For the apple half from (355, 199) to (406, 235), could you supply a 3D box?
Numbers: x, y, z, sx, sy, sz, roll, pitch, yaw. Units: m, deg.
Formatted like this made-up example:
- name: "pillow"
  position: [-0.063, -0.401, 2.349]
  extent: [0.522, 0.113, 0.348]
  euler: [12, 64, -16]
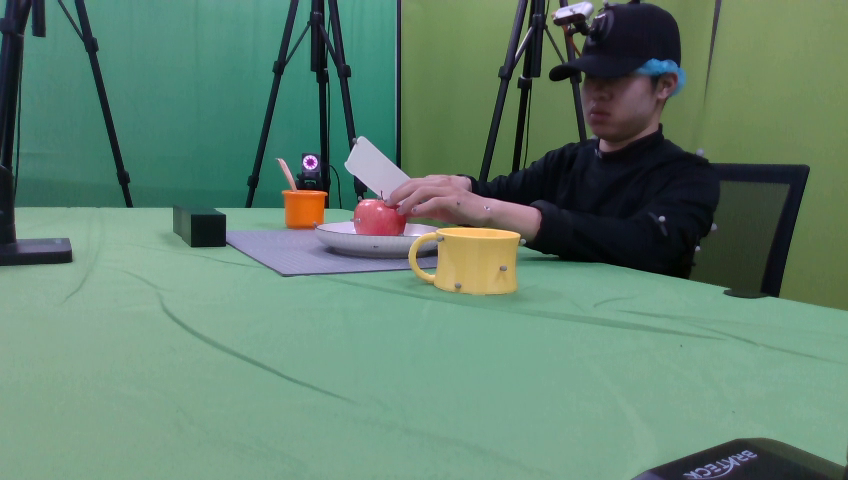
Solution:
- name: "apple half"
  position: [-0.058, -0.023, 0.911]
  extent: [0.053, 0.074, 0.081]
  euler: [15, 8, 39]

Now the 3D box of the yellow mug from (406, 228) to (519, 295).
- name: "yellow mug"
  position: [0.044, 0.022, 0.707]
  extent: [0.131, 0.064, 0.100]
  euler: [2, 7, 5]

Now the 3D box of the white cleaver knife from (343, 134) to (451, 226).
- name: "white cleaver knife"
  position: [-0.037, -0.079, 0.969]
  extent: [0.021, 0.066, 0.288]
  euler: [15, -11, 38]

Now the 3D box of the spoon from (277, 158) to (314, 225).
- name: "spoon"
  position: [-0.272, -0.103, 1.260]
  extent: [0.042, 0.193, 0.021]
  euler: [-5, -34, -33]

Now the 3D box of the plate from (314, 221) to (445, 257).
- name: "plate"
  position: [-0.066, -0.002, 0.948]
  extent: [0.209, 0.038, 0.209]
  euler: [3, 7, 0]

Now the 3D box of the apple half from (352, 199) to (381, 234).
- name: "apple half"
  position: [-0.089, -0.029, 0.936]
  extent: [0.032, 0.081, 0.082]
  euler: [14, 13, 38]
